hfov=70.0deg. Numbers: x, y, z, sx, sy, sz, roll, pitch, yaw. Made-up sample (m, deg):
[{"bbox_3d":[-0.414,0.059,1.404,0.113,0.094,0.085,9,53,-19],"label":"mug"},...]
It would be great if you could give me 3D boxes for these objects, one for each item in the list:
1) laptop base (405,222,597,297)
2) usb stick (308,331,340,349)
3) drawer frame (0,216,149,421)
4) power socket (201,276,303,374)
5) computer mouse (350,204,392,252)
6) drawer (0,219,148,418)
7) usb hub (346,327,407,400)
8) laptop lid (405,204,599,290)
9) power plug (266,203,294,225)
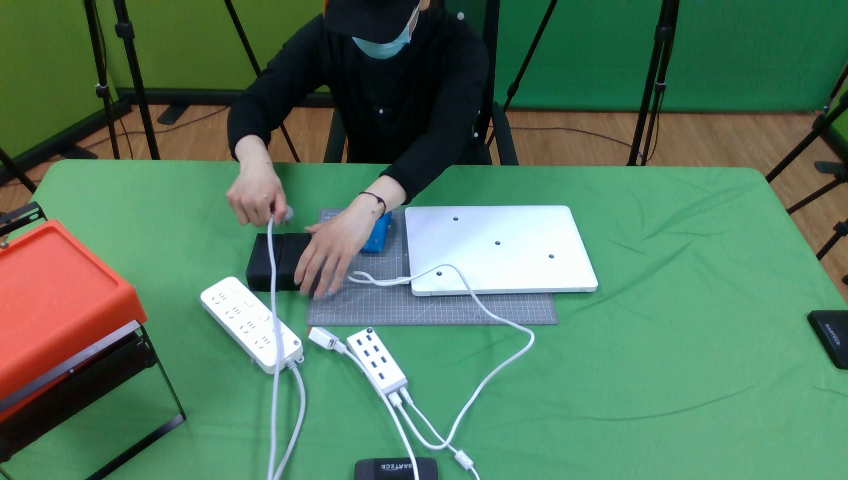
[{"bbox_3d":[0.143,0.018,1.196,0.355,0.023,0.234,-1,43,-6],"label":"laptop base"},{"bbox_3d":[-0.174,0.167,1.022,0.059,0.027,0.021,9,88,24],"label":"usb stick"},{"bbox_3d":[-0.510,0.093,0.780,0.201,0.083,0.213,31,52,23],"label":"drawer frame"},{"bbox_3d":[-0.296,0.141,1.034,0.225,0.033,0.072,37,55,27],"label":"power socket"},{"bbox_3d":[-0.104,-0.027,1.202,0.063,0.041,0.116,11,51,4],"label":"computer mouse"},{"bbox_3d":[-0.509,0.092,0.783,0.193,0.073,0.211,32,53,24],"label":"drawer"},{"bbox_3d":[-0.078,0.202,0.998,0.049,0.025,0.124,-23,53,-24],"label":"usb hub"},{"bbox_3d":[0.144,0.008,1.189,0.357,0.013,0.240,0,44,-5],"label":"laptop lid"},{"bbox_3d":[-0.281,-0.041,1.157,0.035,0.053,0.072,25,54,27],"label":"power plug"}]
